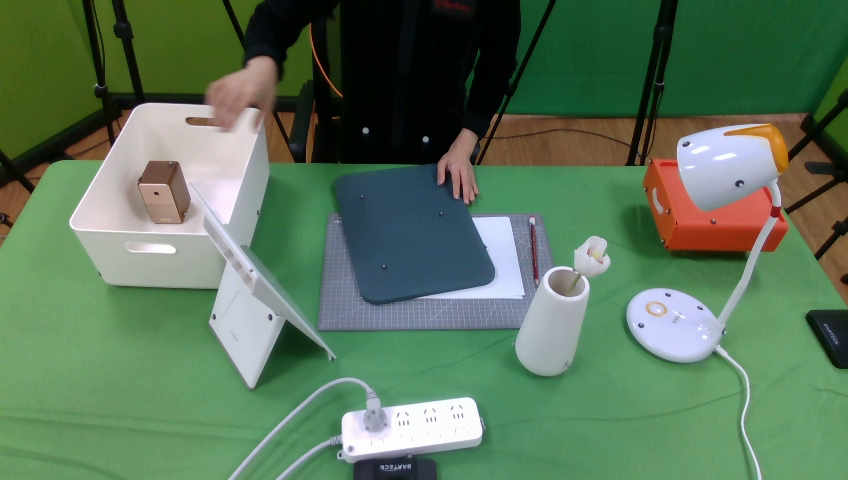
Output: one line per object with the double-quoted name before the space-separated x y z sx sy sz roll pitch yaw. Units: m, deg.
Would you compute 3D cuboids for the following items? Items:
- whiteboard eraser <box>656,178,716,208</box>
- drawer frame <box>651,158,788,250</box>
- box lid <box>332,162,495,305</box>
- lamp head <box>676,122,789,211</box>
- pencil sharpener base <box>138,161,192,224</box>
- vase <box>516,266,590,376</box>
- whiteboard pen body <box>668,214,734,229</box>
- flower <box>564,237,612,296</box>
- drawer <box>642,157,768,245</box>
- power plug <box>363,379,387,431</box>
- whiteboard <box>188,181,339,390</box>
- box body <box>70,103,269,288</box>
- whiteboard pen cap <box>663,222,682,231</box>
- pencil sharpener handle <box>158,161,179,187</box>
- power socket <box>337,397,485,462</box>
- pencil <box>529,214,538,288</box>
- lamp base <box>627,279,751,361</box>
"whiteboard eraser" 0.538 -0.095 1.251 0.113 0.042 0.055 4 52 -10
"drawer frame" 0.571 -0.074 1.213 0.214 0.083 0.200 1 46 0
"box lid" -0.031 -0.028 1.228 0.264 0.015 0.369 -9 47 -13
"lamp head" 0.423 -0.104 0.819 0.122 0.113 0.112 -13 33 40
"pencil sharpener base" -0.502 -0.094 1.181 0.061 0.107 0.076 0 45 -2
"vase" 0.208 0.132 0.964 0.098 0.201 0.097 3 46 -3
"whiteboard pen body" 0.547 -0.035 1.200 0.141 0.017 0.017 -8 48 -9
"flower" 0.206 0.088 0.892 0.038 0.363 0.044 -16 67 -9
"drawer" 0.564 -0.075 1.210 0.212 0.073 0.193 3 45 -1
"power plug" -0.072 0.252 0.910 0.035 0.053 0.072 3 45 -1
"whiteboard" -0.292 0.096 0.929 0.144 0.307 0.216 -38 57 -11
"box body" -0.450 -0.087 1.148 0.254 0.161 0.361 2 46 -2
"whiteboard pen cap" 0.487 -0.027 1.188 0.033 0.018 0.018 0 46 -15
"pencil sharpener handle" -0.503 -0.138 1.208 0.036 0.068 0.030 3 45 -4
"power socket" -0.018 0.285 0.915 0.227 0.033 0.071 -5 46 -8
"pencil" 0.219 0.019 1.202 0.012 0.012 0.193 5 48 1
"lamp base" 0.459 0.100 1.027 0.178 0.181 0.160 27 51 17
